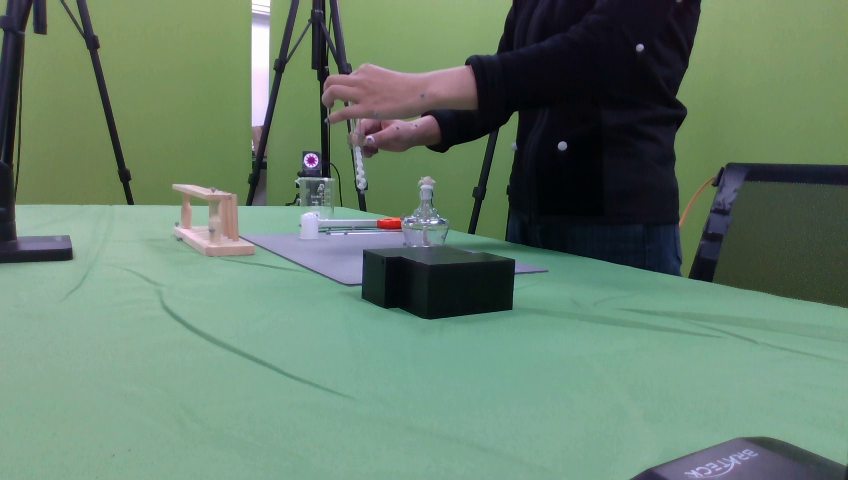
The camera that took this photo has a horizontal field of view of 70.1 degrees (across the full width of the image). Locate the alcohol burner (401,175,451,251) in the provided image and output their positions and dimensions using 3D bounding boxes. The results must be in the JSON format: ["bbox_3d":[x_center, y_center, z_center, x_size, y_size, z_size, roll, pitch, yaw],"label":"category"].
[{"bbox_3d":[0.003,-0.042,0.947,0.078,0.119,0.078,1,9,0],"label":"alcohol burner"}]

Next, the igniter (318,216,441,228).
[{"bbox_3d":[-0.090,-0.035,1.222,0.278,0.025,0.057,-2,-2,-31],"label":"igniter"}]

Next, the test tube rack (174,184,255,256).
[{"bbox_3d":[-0.327,-0.036,0.928,0.067,0.085,0.241,-2,9,-32],"label":"test tube rack"}]

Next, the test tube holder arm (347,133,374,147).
[{"bbox_3d":[-0.098,-0.158,0.958,0.013,0.015,0.178,-1,7,4],"label":"test tube holder arm"}]

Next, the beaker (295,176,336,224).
[{"bbox_3d":[-0.224,-0.080,1.247,0.084,0.100,0.073,-1,8,-18],"label":"beaker"}]

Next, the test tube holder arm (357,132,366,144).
[{"bbox_3d":[-0.094,-0.153,0.914,0.010,0.015,0.087,-3,7,-3],"label":"test tube holder arm"}]

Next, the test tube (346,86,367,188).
[{"bbox_3d":[-0.099,-0.151,0.890,0.017,0.150,0.017,-6,1,0],"label":"test tube"}]

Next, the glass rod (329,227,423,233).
[{"bbox_3d":[-0.087,-0.019,1.148,0.201,0.008,0.008,-2,8,-32],"label":"glass rod"}]

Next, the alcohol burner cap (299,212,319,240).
[{"bbox_3d":[-0.195,-0.024,1.025,0.034,0.048,0.034,3,7,0],"label":"alcohol burner cap"}]
